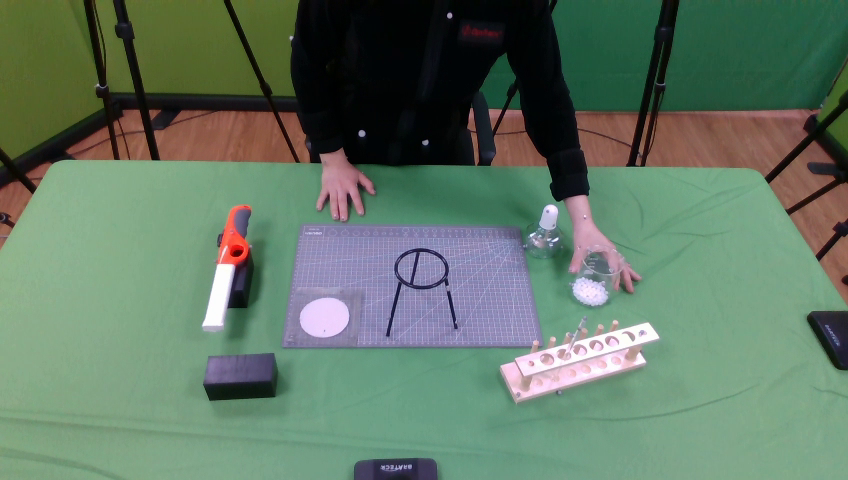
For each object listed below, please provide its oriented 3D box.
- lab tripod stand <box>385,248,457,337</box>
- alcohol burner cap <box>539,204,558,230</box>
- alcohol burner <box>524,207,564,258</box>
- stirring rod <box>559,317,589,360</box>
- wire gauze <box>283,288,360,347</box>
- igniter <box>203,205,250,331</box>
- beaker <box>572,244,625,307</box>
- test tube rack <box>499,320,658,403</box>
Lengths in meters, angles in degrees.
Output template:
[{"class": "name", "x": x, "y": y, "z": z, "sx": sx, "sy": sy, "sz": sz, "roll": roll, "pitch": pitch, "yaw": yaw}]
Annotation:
[{"class": "lab tripod stand", "x": -0.010, "y": 0.087, "z": 1.032, "sx": 0.148, "sy": 0.132, "sz": 0.147, "roll": 1, "pitch": 45, "yaw": -1}, {"class": "alcohol burner cap", "x": 0.238, "y": -0.045, "z": 1.148, "sx": 0.034, "sy": 0.048, "sz": 0.033, "roll": 1, "pitch": 43, "yaw": -1}, {"class": "alcohol burner", "x": 0.236, "y": -0.021, "z": 1.174, "sx": 0.078, "sy": 0.120, "sz": 0.077, "roll": 1, "pitch": 47, "yaw": -1}, {"class": "stirring rod", "x": 0.221, "y": 0.155, "z": 0.912, "sx": 0.014, "sy": 0.177, "sz": 0.006, "roll": 5, "pitch": 58, "yaw": 2}, {"class": "wire gauze", "x": -0.178, "y": 0.132, "z": 1.063, "sx": 0.125, "sy": 0.011, "sz": 0.120, "roll": 2, "pitch": 46, "yaw": 1}, {"class": "igniter", "x": -0.345, "y": 0.039, "z": 1.065, "sx": 0.057, "sy": 0.025, "sz": 0.274, "roll": 2, "pitch": 48, "yaw": -6}, {"class": "beaker", "x": 0.315, "y": 0.067, "z": 1.105, "sx": 0.084, "sy": 0.101, "sz": 0.073, "roll": -9, "pitch": 48, "yaw": -13}, {"class": "test tube rack", "x": 0.252, "y": 0.187, "z": 0.994, "sx": 0.243, "sy": 0.085, "sz": 0.066, "roll": -12, "pitch": 48, "yaw": -15}]
